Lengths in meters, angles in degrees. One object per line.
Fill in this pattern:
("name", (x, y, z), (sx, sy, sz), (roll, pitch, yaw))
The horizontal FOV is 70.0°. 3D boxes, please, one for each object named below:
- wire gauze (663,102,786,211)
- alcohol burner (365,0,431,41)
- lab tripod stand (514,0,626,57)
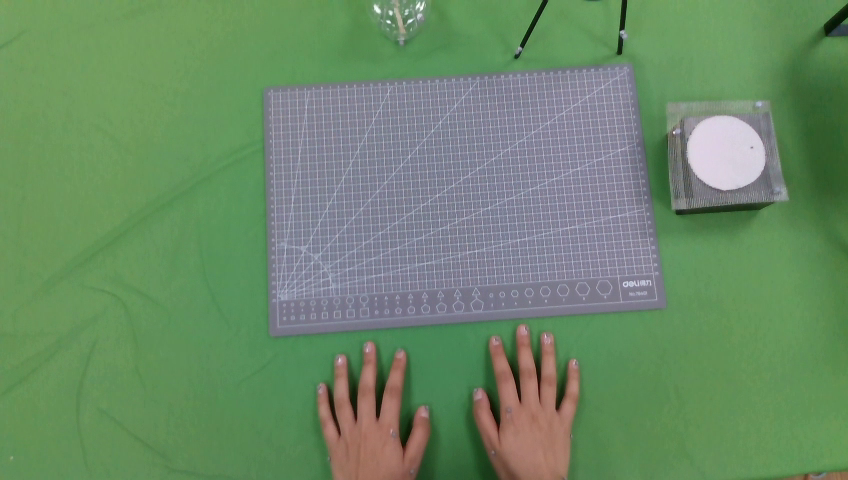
("wire gauze", (0.329, -0.095, 0.670), (0.121, 0.011, 0.124), (-1, 78, 3))
("alcohol burner", (-0.030, -0.284, 0.701), (0.078, 0.119, 0.077), (0, 79, -2))
("lab tripod stand", (0.176, -0.274, 0.690), (0.148, 0.132, 0.147), (0, 78, -2))
